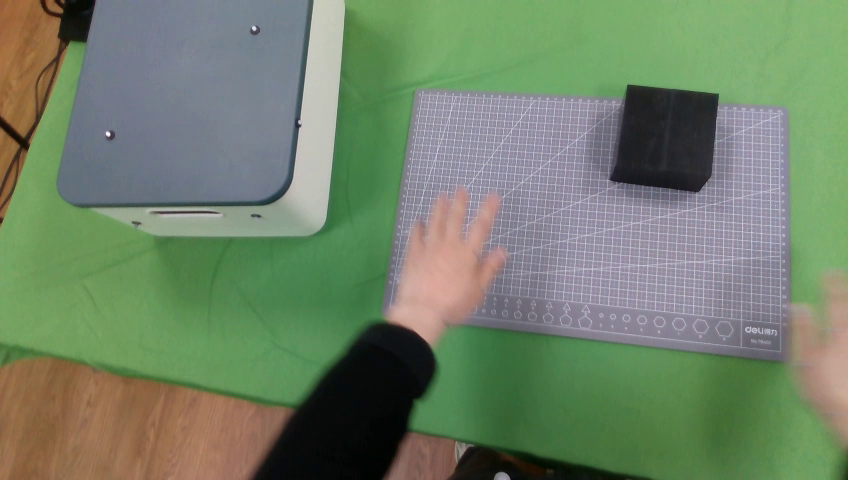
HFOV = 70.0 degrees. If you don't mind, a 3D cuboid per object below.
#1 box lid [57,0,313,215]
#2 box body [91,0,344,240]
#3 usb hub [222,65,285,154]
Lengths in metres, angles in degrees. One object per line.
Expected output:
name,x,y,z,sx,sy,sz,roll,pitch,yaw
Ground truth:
box lid,-0.255,-0.204,0.669,0.263,0.015,0.369,0,74,9
box body,-0.244,-0.185,0.740,0.254,0.161,0.362,0,74,8
usb hub,-0.222,-0.172,0.792,0.049,0.025,0.124,5,69,12
